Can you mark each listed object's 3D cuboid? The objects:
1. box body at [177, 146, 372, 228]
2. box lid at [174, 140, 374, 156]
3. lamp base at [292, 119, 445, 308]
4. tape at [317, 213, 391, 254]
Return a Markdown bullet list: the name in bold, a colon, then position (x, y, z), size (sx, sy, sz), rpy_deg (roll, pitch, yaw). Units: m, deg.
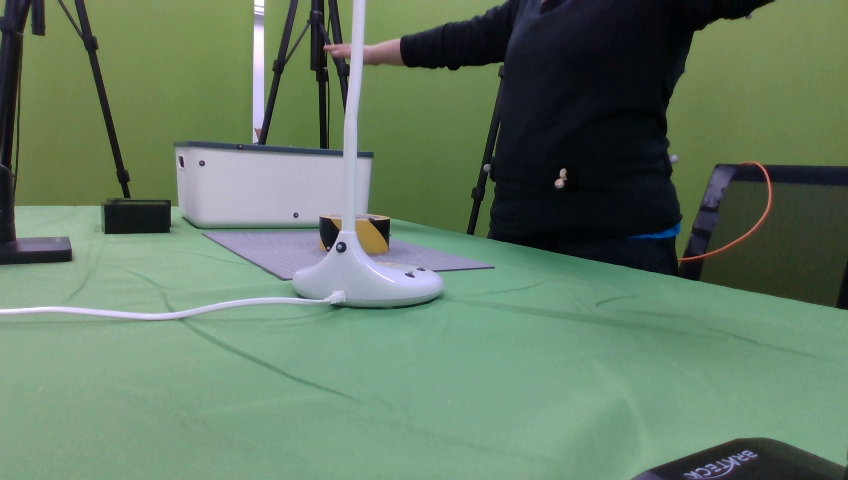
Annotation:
- **box body**: position (-0.319, -0.118, 1.280), size (0.366, 0.160, 0.253), rpy_deg (-1, 8, -29)
- **box lid**: position (-0.318, -0.190, 1.270), size (0.373, 0.015, 0.262), rpy_deg (-1, 8, -29)
- **lamp base**: position (-0.056, -0.030, 0.616), size (0.160, 0.180, 0.179), rpy_deg (3, 10, 8)
- **tape**: position (-0.109, -0.012, 0.938), size (0.117, 0.052, 0.117), rpy_deg (2, 7, 0)
